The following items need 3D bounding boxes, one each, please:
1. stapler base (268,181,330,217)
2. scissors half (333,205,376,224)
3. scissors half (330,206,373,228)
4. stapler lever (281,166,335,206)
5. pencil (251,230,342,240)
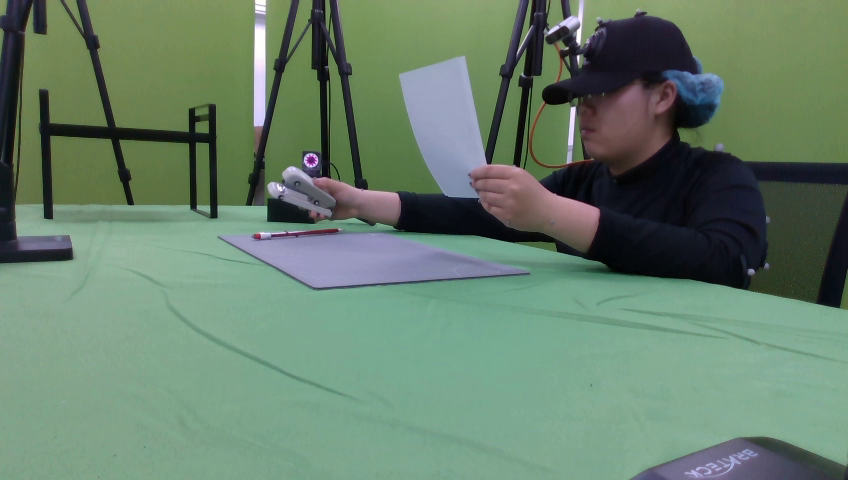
[{"bbox_3d":[-0.227,-0.083,1.126,0.131,0.024,0.041,24,28,-41],"label":"stapler base"},{"bbox_3d":[-0.189,-0.073,1.334,0.175,0.013,0.040,22,12,-10],"label":"scissors half"},{"bbox_3d":[-0.191,-0.068,1.314,0.175,0.013,0.040,26,17,7],"label":"scissors half"},{"bbox_3d":[-0.211,-0.100,1.119,0.119,0.040,0.026,23,28,-41],"label":"stapler lever"},{"bbox_3d":[-0.215,-0.011,1.049,0.012,0.012,0.195,9,9,39],"label":"pencil"}]
